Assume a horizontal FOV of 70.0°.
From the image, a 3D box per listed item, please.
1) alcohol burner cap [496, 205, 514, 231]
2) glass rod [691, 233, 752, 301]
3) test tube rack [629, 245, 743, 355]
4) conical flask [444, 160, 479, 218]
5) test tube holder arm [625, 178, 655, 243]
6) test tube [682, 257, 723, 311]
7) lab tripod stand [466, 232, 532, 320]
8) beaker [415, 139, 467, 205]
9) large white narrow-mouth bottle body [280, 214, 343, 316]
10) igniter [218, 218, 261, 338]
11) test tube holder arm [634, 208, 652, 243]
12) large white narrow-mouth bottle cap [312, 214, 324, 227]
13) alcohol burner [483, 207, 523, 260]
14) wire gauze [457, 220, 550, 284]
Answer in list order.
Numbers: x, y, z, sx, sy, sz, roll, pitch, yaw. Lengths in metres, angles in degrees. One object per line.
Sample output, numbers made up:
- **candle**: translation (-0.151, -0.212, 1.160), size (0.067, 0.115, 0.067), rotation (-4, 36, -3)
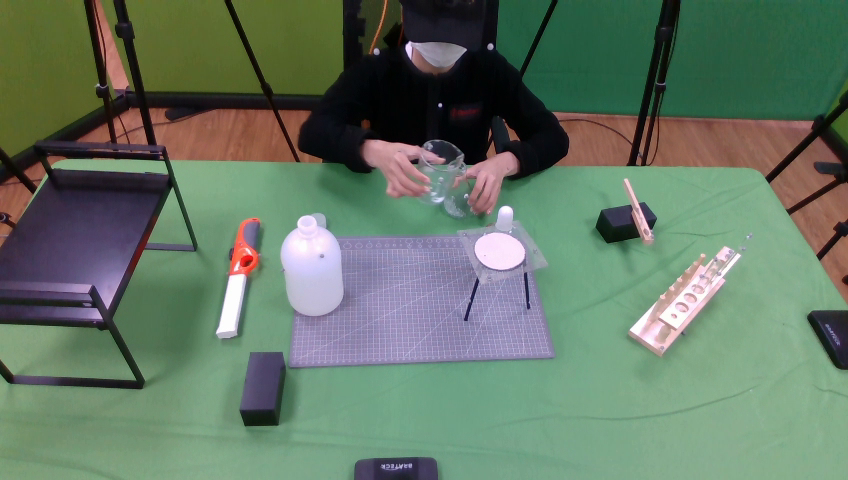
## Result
- **alcohol burner cap**: translation (0.153, -0.044, 1.131), size (0.034, 0.048, 0.033), rotation (1, 40, -1)
- **glass rod**: translation (0.508, 0.053, 1.041), size (0.008, 0.200, 0.008), rotation (5, 50, -6)
- **test tube rack**: translation (0.474, 0.095, 1.091), size (0.242, 0.085, 0.066), rotation (-34, 56, -31)
- **conical flask**: translation (0.073, -0.108, 1.230), size (0.075, 0.122, 0.075), rotation (-4, 53, 5)
- **test tube holder arm**: translation (0.433, -0.062, 1.220), size (0.013, 0.015, 0.177), rotation (2, 47, -3)
- **test tube**: translation (0.475, 0.080, 1.037), size (0.017, 0.151, 0.017), rotation (1, 50, -1)
- **lab tripod stand**: translation (0.125, 0.059, 1.065), size (0.148, 0.132, 0.147), rotation (1, 45, 0)
- **beaker**: translation (0.028, -0.117, 1.067), size (0.084, 0.100, 0.073), rotation (-13, 58, -21)
- **large white narrow-mouth bottle body**: translation (-0.190, 0.035, 1.025), size (0.102, 0.195, 0.101), rotation (2, 46, -2)
- **igniter**: translation (-0.336, 0.060, 1.111), size (0.057, 0.025, 0.274), rotation (-8, 46, 4)
- **test tube holder arm**: translation (0.428, -0.030, 1.189), size (0.010, 0.015, 0.087), rotation (2, 47, -3)
- **large white narrow-mouth bottle cap**: translation (-0.219, -0.033, 1.214), size (0.038, 0.024, 0.037), rotation (2, 46, -2)
- **alcohol burner**: translation (0.152, -0.018, 1.156), size (0.078, 0.120, 0.077), rotation (0, 47, 0)
- **wire gauze**: translation (0.131, 0.014, 1.016), size (0.121, 0.011, 0.124), rotation (-11, 46, -14)
